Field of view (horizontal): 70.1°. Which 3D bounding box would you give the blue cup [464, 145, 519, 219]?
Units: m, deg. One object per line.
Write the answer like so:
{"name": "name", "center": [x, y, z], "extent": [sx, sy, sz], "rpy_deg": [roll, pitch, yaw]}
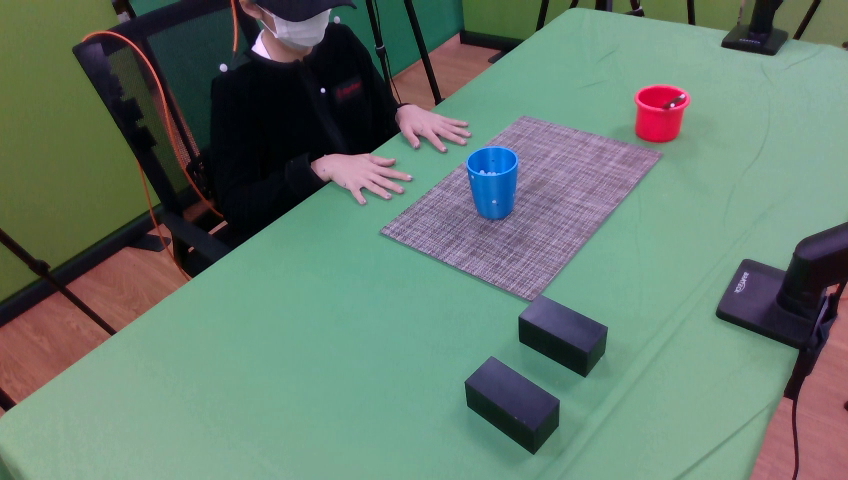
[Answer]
{"name": "blue cup", "center": [0.115, -0.090, 0.997], "extent": [0.092, 0.101, 0.092], "rpy_deg": [-5, 41, 5]}

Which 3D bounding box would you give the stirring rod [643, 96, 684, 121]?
{"name": "stirring rod", "center": [0.433, -0.238, 1.100], "extent": [0.014, 0.006, 0.176], "rpy_deg": [-1, -1, 2]}
